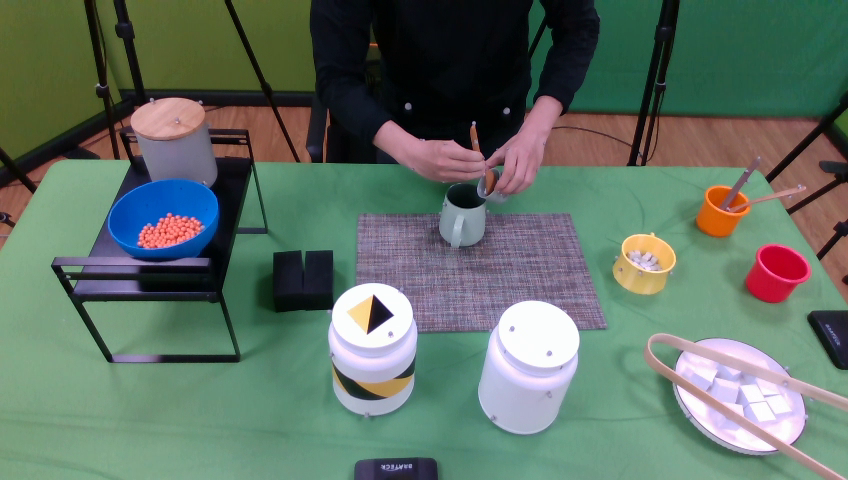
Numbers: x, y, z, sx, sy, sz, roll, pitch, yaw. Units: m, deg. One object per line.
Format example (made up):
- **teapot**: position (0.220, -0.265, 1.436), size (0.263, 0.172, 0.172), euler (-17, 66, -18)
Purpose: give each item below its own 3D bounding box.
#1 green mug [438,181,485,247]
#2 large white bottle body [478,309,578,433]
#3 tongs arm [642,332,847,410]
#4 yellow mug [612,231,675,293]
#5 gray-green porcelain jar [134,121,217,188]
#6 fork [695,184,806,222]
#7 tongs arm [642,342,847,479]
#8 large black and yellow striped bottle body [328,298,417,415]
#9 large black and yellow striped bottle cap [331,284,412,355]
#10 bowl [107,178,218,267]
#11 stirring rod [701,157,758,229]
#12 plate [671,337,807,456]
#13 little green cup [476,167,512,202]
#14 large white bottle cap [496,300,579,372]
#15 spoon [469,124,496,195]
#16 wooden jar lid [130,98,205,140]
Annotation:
- **green mug**: position (0.072, -0.039, 1.178), size (0.092, 0.105, 0.124), euler (12, 47, 7)
- **large white bottle body**: position (0.156, 0.192, 0.913), size (0.131, 0.185, 0.130), euler (2, 46, -2)
- **tongs arm**: position (0.546, 0.227, 0.968), size (0.384, 0.026, 0.050), euler (22, 52, 13)
- **yellow mug**: position (0.424, 0.033, 1.168), size (0.100, 0.064, 0.130), euler (18, 47, 13)
- **gray-green porcelain jar**: position (-0.396, -0.141, 0.979), size (0.106, 0.127, 0.105), euler (2, 47, -2)
- **fork**: position (0.658, -0.074, 1.230), size (0.207, 0.019, 0.028), euler (-23, 35, 37)
- **tongs arm**: position (0.504, 0.279, 0.918), size (0.386, 0.028, 0.028), euler (33, 59, 22)
- **large black and yellow striped bottle body**: position (-0.078, 0.167, 0.920), size (0.131, 0.185, 0.130), euler (2, 46, -2)
- **large black and yellow striped bottle cap**: position (-0.073, 0.110, 0.858), size (0.115, 0.019, 0.114), euler (2, 46, -2)
- **bowl**: position (-0.374, -0.014, 0.893), size (0.151, 0.077, 0.150), euler (2, 46, -2)
- **stirring rod**: position (0.634, -0.096, 1.257), size (0.014, 0.006, 0.176), euler (38, 97, 30)
- **plate**: position (0.504, 0.254, 0.984), size (0.208, 0.039, 0.206), euler (2, 46, -2)
- **little green cup**: position (0.132, -0.101, 1.129), size (0.039, 0.061, 0.061), euler (26, 36, -34)
- **large white bottle cap**: position (0.160, 0.133, 0.852), size (0.115, 0.018, 0.114), euler (3, 46, -2)
- **spoon**: position (0.100, -0.138, 1.057), size (0.021, 0.195, 0.041), euler (17, 69, 28)
- **wooden jar lid**: position (-0.393, -0.183, 0.934), size (0.108, 0.021, 0.107), euler (2, 44, -2)
